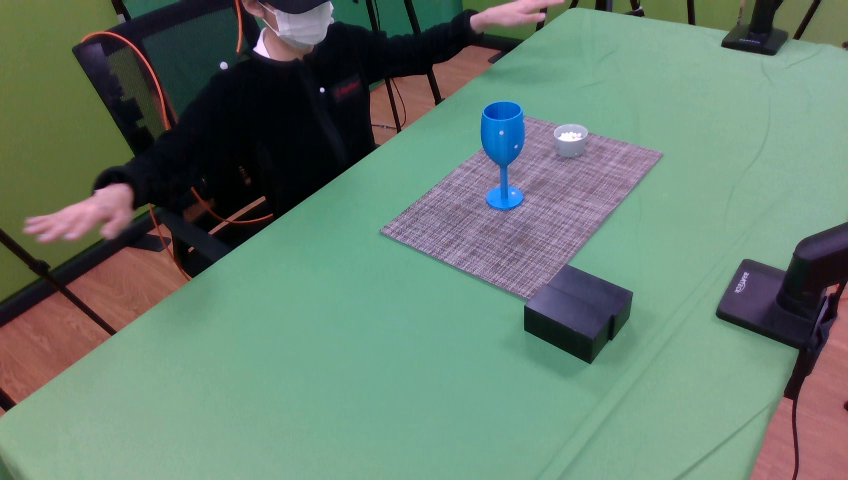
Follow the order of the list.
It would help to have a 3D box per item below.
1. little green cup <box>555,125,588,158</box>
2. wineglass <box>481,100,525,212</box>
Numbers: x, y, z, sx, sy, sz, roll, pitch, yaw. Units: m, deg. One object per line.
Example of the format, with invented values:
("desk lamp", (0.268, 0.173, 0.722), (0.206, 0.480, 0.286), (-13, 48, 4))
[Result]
("little green cup", (0.274, -0.184, 1.130), (0.061, 0.039, 0.061), (-4, 41, 4))
("wineglass", (0.131, -0.136, 0.992), (0.074, 0.173, 0.073), (-5, 40, 4))
